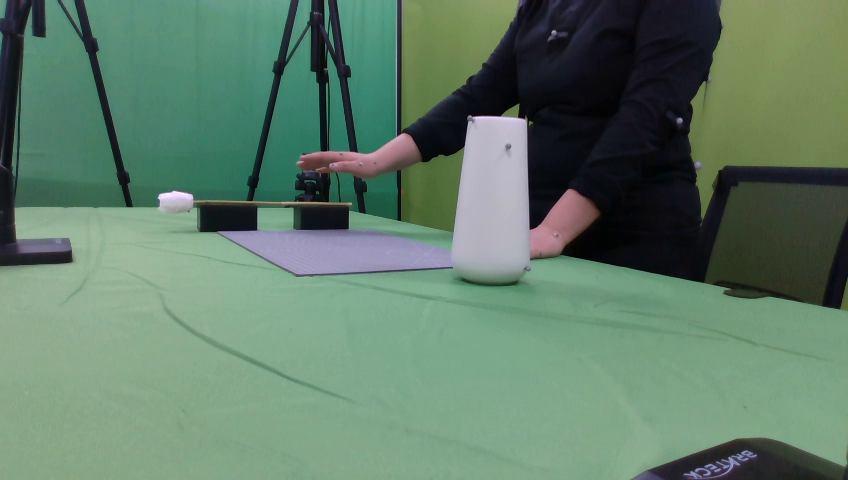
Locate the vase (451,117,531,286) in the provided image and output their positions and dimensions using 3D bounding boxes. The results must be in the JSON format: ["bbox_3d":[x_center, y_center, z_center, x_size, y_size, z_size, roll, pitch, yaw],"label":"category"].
[{"bbox_3d":[0.083,-0.047,0.737,0.098,0.200,0.098,1,6,0],"label":"vase"}]

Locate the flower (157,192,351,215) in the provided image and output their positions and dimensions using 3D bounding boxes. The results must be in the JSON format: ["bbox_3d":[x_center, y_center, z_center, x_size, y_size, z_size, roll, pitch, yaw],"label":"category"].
[{"bbox_3d":[-0.314,-0.076,1.160,0.363,0.038,0.044,-4,-21,-24],"label":"flower"}]
